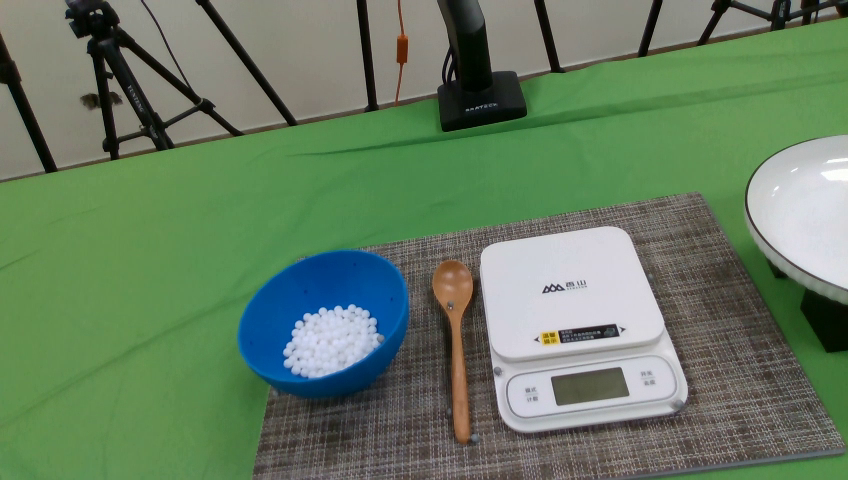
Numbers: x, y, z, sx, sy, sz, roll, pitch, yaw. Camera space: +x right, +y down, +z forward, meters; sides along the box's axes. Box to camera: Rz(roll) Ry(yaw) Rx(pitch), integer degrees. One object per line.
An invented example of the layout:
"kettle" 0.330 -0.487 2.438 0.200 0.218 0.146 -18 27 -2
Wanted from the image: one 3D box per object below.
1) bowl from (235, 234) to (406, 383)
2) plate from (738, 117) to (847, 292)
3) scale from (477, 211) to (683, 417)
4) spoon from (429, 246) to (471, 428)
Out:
"bowl" -0.083 0.074 0.545 0.151 0.077 0.150 -8 43 7
"plate" 0.364 -0.026 0.485 0.209 0.038 0.207 -8 43 8
"scale" 0.127 0.056 0.539 0.148 0.032 0.199 -10 43 6
"spoon" 0.026 0.079 0.550 0.041 0.022 0.192 2 43 -3
